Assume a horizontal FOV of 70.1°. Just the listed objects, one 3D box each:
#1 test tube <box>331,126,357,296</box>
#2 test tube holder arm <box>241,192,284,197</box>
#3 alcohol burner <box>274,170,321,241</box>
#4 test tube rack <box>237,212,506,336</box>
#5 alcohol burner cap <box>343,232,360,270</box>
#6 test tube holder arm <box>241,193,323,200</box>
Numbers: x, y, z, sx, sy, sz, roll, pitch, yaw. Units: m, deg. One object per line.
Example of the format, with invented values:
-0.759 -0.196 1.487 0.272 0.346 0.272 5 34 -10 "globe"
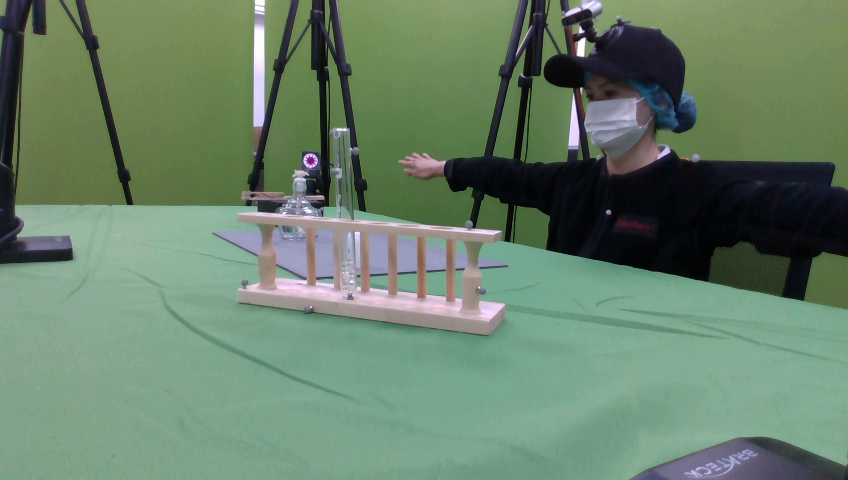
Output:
-0.071 -0.025 0.534 0.017 0.150 0.017 -2 8 1 "test tube"
-0.325 -0.093 1.224 0.088 0.010 0.015 -4 9 -39 "test tube holder arm"
-0.212 -0.058 1.015 0.078 0.119 0.078 4 5 0 "alcohol burner"
-0.049 0.024 0.552 0.242 0.085 0.067 5 8 19 "test tube rack"
-0.087 0.013 0.777 0.034 0.048 0.034 3 7 0 "alcohol burner cap"
-0.290 -0.090 1.253 0.179 0.013 0.015 -4 9 -39 "test tube holder arm"
